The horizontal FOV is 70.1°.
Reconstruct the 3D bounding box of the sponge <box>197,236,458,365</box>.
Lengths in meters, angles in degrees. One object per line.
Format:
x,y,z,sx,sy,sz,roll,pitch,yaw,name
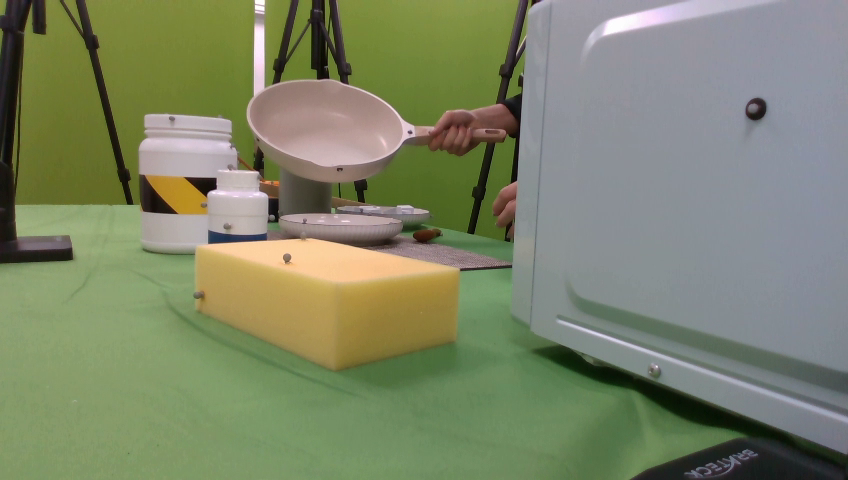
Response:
-0.087,0.039,0.500,0.206,0.061,0.119,8,9,44,sponge

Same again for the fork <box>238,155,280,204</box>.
-0.396,-0.143,1.486,0.028,0.018,0.208,20,-26,45,fork

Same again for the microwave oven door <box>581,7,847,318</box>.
0.295,-0.067,0.569,0.358,0.243,0.039,-3,8,-31,microwave oven door

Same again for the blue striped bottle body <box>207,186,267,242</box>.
-0.204,-0.016,0.663,0.063,0.120,0.063,2,7,0,blue striped bottle body

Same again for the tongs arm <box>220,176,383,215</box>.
-0.285,-0.104,1.445,0.389,0.027,0.028,9,-4,-23,tongs arm

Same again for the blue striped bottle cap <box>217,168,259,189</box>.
-0.202,-0.067,0.656,0.044,0.020,0.044,0,10,0,blue striped bottle cap

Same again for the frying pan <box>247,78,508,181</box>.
-0.080,-0.209,1.158,0.489,0.103,0.306,0,43,-5,frying pan

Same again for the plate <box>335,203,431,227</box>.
-0.089,-0.053,1.309,0.208,0.039,0.207,2,8,0,plate

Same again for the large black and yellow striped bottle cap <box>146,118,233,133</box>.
-0.333,-0.163,0.861,0.115,0.019,0.115,1,9,0,large black and yellow striped bottle cap

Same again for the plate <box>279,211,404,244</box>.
-0.138,-0.022,1.021,0.209,0.038,0.209,2,8,0,plate

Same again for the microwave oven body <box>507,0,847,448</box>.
0.331,-0.042,0.425,0.444,0.260,0.324,-2,8,-31,microwave oven body

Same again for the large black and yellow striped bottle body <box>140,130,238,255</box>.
-0.336,-0.078,0.871,0.131,0.184,0.130,2,8,0,large black and yellow striped bottle body

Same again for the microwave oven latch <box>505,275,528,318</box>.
0.100,0.042,0.472,0.079,0.029,0.030,-2,8,-30,microwave oven latch

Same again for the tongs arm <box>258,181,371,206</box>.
-0.241,-0.095,1.373,0.387,0.026,0.050,9,0,-37,tongs arm

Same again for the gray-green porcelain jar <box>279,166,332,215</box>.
-0.238,-0.092,1.221,0.106,0.126,0.106,1,7,0,gray-green porcelain jar

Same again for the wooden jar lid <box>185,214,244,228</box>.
-0.404,-0.037,1.169,0.108,0.020,0.108,3,7,0,wooden jar lid

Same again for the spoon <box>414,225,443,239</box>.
0.017,-0.019,1.113,0.041,0.021,0.194,-16,3,12,spoon
